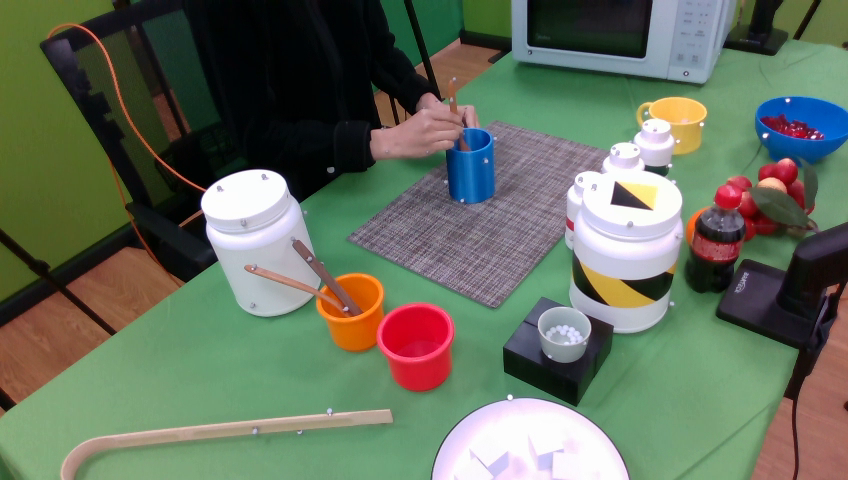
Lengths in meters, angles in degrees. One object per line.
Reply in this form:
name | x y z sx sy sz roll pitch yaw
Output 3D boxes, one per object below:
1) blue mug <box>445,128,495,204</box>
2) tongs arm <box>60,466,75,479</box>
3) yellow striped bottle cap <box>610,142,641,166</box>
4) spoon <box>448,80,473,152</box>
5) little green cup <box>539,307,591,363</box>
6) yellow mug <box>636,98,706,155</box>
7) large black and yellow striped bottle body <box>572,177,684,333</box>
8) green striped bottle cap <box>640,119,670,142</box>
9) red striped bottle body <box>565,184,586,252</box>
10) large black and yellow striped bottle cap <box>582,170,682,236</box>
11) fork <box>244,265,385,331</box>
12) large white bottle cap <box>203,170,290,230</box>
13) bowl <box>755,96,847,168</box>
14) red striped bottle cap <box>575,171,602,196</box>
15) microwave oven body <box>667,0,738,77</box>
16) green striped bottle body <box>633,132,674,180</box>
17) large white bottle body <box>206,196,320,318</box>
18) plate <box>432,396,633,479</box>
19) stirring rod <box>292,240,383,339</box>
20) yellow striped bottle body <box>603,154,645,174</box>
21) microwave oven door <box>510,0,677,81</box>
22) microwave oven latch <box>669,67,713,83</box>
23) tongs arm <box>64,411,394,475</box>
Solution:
blue mug | 0.081 -0.138 1.057 0.082 0.106 0.116 -5 40 3
tongs arm | -0.239 0.301 0.649 0.386 0.028 0.028 6 49 17
yellow striped bottle cap | 0.308 -0.131 0.925 0.044 0.019 0.044 -4 46 4
spoon | 0.060 -0.181 1.011 0.042 0.195 0.021 -35 43 -18
little green cup | 0.167 0.114 0.721 0.061 0.039 0.061 -4 43 4
yellow mug | 0.453 -0.217 1.128 0.100 0.064 0.129 -34 46 -27
large black and yellow striped bottle body | 0.262 0.017 0.788 0.131 0.185 0.130 -5 40 4
green striped bottle cap | 0.370 -0.174 0.968 0.044 0.020 0.044 -3 41 3
red striped bottle body | 0.247 -0.041 0.910 0.063 0.120 0.062 -3 39 3
large black and yellow striped bottle cap | 0.252 -0.048 0.735 0.115 0.019 0.114 -3 40 3
fork | -0.142 0.078 0.806 0.209 0.018 0.028 30 33 -24
large white bottle cap | -0.241 -0.057 0.822 0.115 0.018 0.114 -4 40 4
bowl | 0.645 -0.177 1.041 0.151 0.077 0.150 -5 40 4
red striped bottle cap | 0.242 -0.081 0.876 0.044 0.018 0.044 -5 44 5
microwave oven body | 0.462 -0.552 1.369 0.439 0.261 0.326 15 45 26
green striped bottle body | 0.376 -0.135 1.001 0.063 0.120 0.063 -5 40 5
large white bottle body | -0.233 0.008 0.877 0.130 0.185 0.130 -4 40 4
plate | 0.112 0.261 0.634 0.209 0.038 0.208 -5 40 4
stirring rod | -0.118 0.068 0.826 0.176 0.006 0.014 49 59 -4
yellow striped bottle body | 0.314 -0.091 0.957 0.063 0.121 0.062 -4 40 4
microwave oven door | 0.354 -0.478 1.290 0.353 0.245 0.039 15 45 25
microwave oven latch | 0.556 -0.348 1.261 0.078 0.029 0.030 16 46 27
tongs arm | -0.228 0.240 0.715 0.385 0.026 0.050 -4 43 5
